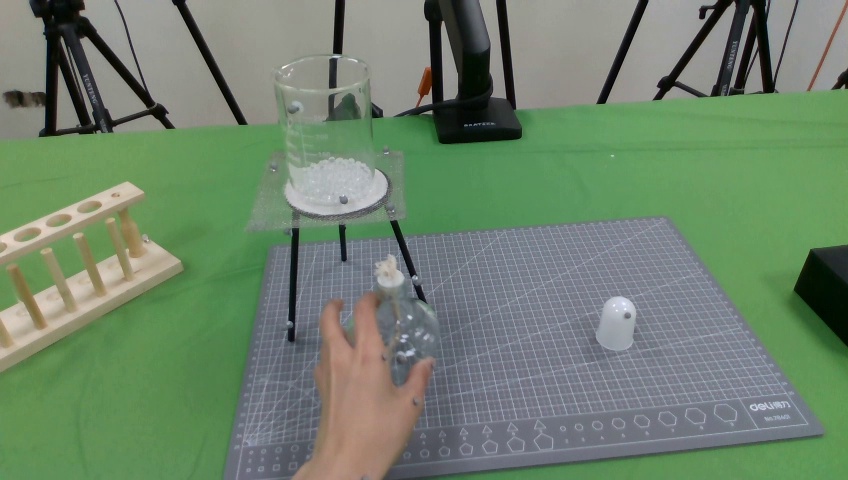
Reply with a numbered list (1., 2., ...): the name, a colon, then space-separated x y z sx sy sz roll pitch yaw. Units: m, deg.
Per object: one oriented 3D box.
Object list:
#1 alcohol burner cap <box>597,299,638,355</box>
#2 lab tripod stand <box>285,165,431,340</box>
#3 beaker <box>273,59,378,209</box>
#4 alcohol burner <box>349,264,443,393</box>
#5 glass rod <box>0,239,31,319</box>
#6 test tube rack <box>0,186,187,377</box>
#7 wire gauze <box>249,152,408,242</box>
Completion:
1. alcohol burner cap: 0.170 0.073 0.528 0.034 0.048 0.033 -1 37 1
2. lab tripod stand: -0.065 0.010 0.546 0.148 0.132 0.147 0 35 0
3. beaker: -0.077 -0.083 0.478 0.083 0.101 0.074 20 41 25
4. alcohol burner: -0.023 0.065 0.485 0.078 0.120 0.077 0 37 0
5. glass rod: -0.377 -0.014 0.524 0.008 0.201 0.008 -1 29 1
6. test tube rack: -0.353 0.045 0.555 0.066 0.086 0.242 26 44 33
7. wire gauze: -0.075 -0.042 0.505 0.121 0.011 0.124 -3 38 -2
